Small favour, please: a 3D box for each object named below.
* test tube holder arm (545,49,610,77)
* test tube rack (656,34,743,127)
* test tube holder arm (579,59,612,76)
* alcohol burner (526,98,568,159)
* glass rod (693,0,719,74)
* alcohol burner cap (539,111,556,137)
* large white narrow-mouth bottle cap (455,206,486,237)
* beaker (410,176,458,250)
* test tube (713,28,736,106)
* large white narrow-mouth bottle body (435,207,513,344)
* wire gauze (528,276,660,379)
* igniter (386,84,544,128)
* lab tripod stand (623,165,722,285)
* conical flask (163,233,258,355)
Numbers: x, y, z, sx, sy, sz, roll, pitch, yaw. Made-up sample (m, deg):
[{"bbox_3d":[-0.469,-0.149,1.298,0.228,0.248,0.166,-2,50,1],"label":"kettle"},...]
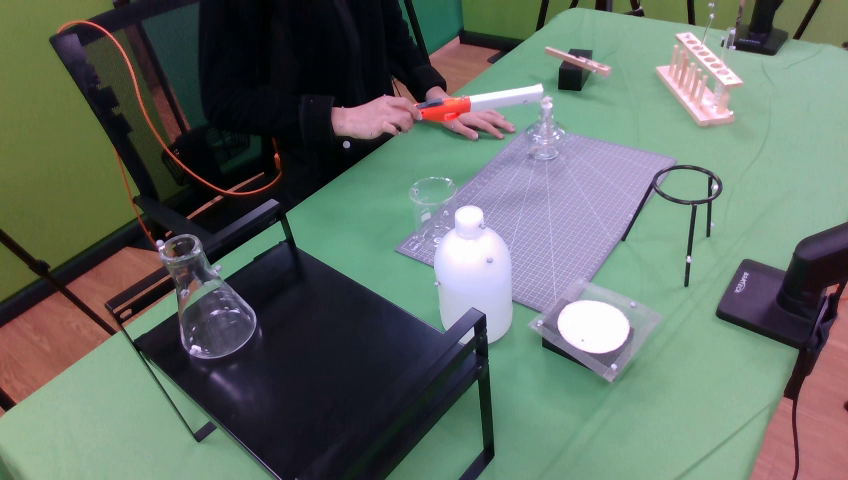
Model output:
[{"bbox_3d":[0.331,-0.387,1.315,0.013,0.015,0.177,-26,43,-29],"label":"test tube holder arm"},{"bbox_3d":[0.553,-0.330,1.233,0.067,0.085,0.241,-7,40,2],"label":"test tube rack"},{"bbox_3d":[0.363,-0.368,1.289,0.010,0.015,0.087,-26,43,-30],"label":"test tube holder arm"},{"bbox_3d":[0.228,-0.210,1.118,0.078,0.119,0.077,-5,43,5],"label":"alcohol burner"},{"bbox_3d":[0.560,-0.401,1.214,0.008,0.200,0.008,-1,48,2],"label":"glass rod"},{"bbox_3d":[0.244,-0.232,1.197,0.034,0.048,0.033,-5,40,4],"label":"alcohol burner cap"},{"bbox_3d":[0.057,-0.023,0.734,0.038,0.024,0.037,-4,40,4],"label":"large white narrow-mouth bottle cap"},{"bbox_3d":[0.022,-0.041,0.964,0.073,0.101,0.084,28,51,35],"label":"beaker"},{"bbox_3d":[0.570,-0.325,1.149,0.017,0.151,0.017,-4,36,4],"label":"test tube"},{"bbox_3d":[0.065,0.041,0.791,0.102,0.195,0.101,-4,41,4],"label":"large white narrow-mouth bottle body"},{"bbox_3d":[0.214,0.103,0.763,0.124,0.011,0.122,30,52,35],"label":"wire gauze"},{"bbox_3d":[0.070,-0.232,1.046,0.277,0.057,0.025,-11,64,-4],"label":"igniter"},{"bbox_3d":[0.365,-0.030,0.875,0.148,0.132,0.147,-6,41,6],"label":"lab tripod stand"},{"bbox_3d":[-0.217,0.051,0.601,0.075,0.122,0.075,-4,40,4],"label":"conical flask"}]
